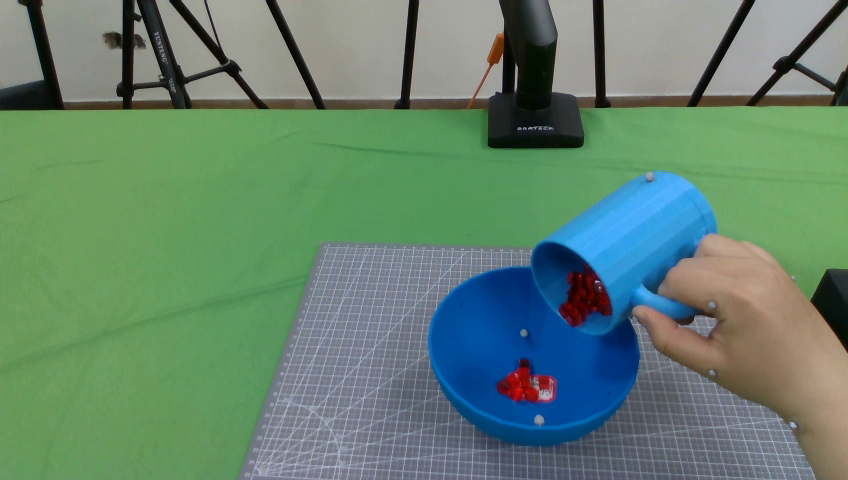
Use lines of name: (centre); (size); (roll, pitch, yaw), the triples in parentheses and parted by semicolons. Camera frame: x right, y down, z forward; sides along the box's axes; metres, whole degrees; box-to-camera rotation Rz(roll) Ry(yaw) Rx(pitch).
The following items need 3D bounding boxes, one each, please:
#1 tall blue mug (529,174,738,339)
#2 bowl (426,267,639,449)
tall blue mug: (0.147, 0.009, 0.416); (0.108, 0.078, 0.107); (-31, 9, -24)
bowl: (0.078, 0.100, 0.458); (0.151, 0.077, 0.150); (-2, 41, 2)
